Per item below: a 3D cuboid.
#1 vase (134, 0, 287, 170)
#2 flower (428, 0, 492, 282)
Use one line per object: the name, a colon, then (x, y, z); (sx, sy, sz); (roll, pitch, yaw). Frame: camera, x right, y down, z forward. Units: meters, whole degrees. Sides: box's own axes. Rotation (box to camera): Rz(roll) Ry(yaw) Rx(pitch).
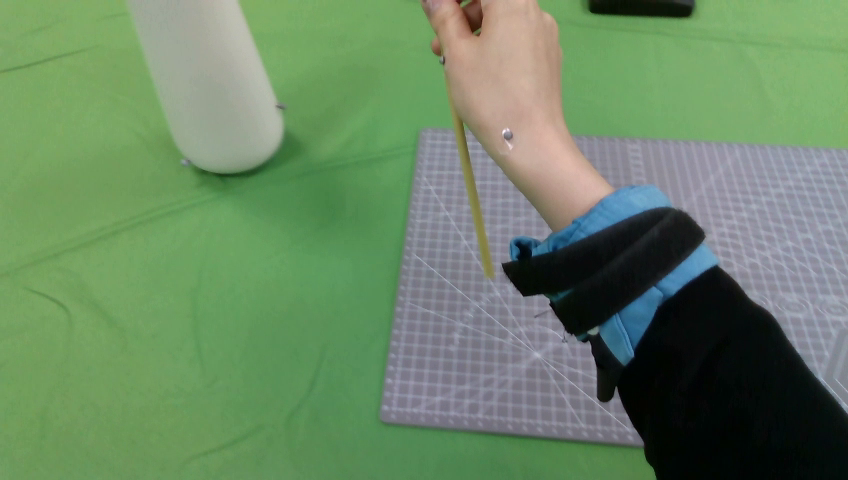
vase: (-0.178, -0.154, 0.507); (0.098, 0.202, 0.097); (0, 51, 0)
flower: (0.005, -0.148, 0.351); (0.044, 0.363, 0.038); (-1, 15, 43)
